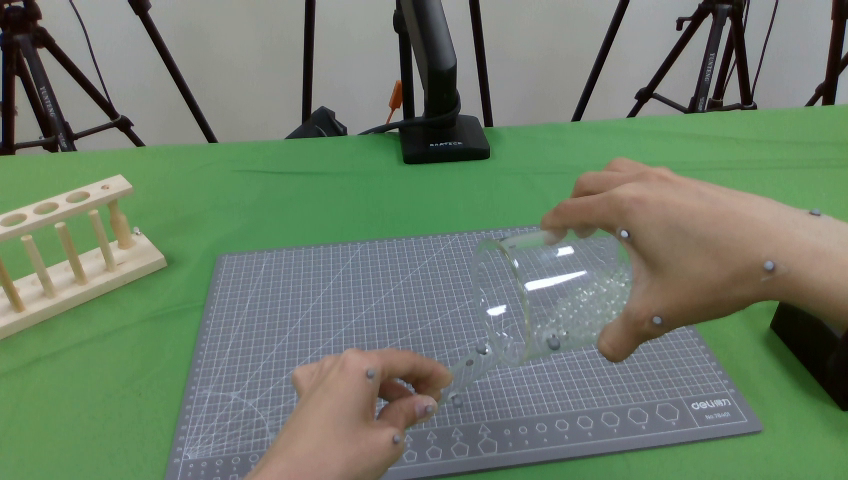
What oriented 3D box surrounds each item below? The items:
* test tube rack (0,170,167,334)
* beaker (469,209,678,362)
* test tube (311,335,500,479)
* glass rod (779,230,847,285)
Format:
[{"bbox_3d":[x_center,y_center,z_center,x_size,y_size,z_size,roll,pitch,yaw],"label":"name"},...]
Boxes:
[{"bbox_3d":[-0.384,0.024,0.571,0.242,0.086,0.066,-28,45,-32],"label":"test tube rack"},{"bbox_3d":[0.086,0.025,0.352,0.100,0.084,0.073,-11,43,-15],"label":"beaker"},{"bbox_3d":[-0.014,0.108,0.380,0.150,0.017,0.017,-39,37,13],"label":"test tube"},{"bbox_3d":[0.372,0.047,0.506,0.008,0.008,0.197,-11,37,-13],"label":"glass rod"}]
